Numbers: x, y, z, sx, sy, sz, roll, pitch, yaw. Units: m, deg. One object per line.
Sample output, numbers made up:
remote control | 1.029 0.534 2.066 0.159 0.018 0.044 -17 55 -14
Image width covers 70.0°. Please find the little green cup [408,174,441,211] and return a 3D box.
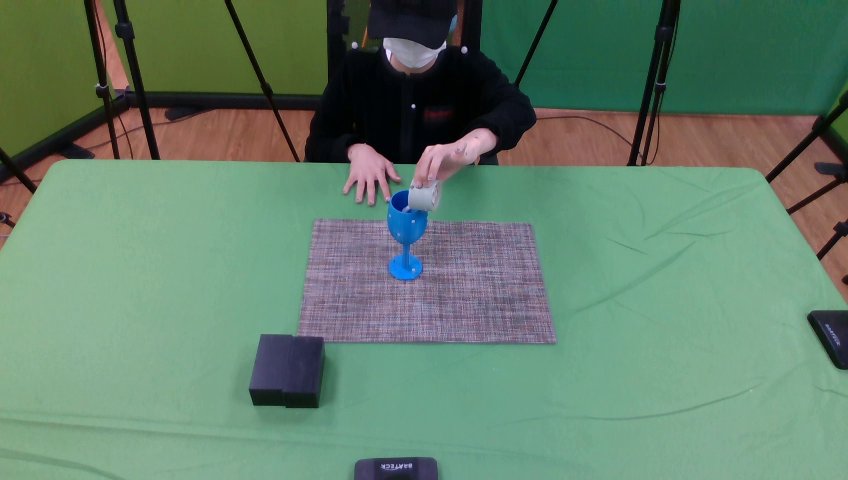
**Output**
little green cup | 0.002 -0.077 0.996 0.038 0.062 0.061 13 46 17

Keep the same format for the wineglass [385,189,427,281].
wineglass | -0.034 -0.006 1.091 0.074 0.173 0.073 2 46 -2
